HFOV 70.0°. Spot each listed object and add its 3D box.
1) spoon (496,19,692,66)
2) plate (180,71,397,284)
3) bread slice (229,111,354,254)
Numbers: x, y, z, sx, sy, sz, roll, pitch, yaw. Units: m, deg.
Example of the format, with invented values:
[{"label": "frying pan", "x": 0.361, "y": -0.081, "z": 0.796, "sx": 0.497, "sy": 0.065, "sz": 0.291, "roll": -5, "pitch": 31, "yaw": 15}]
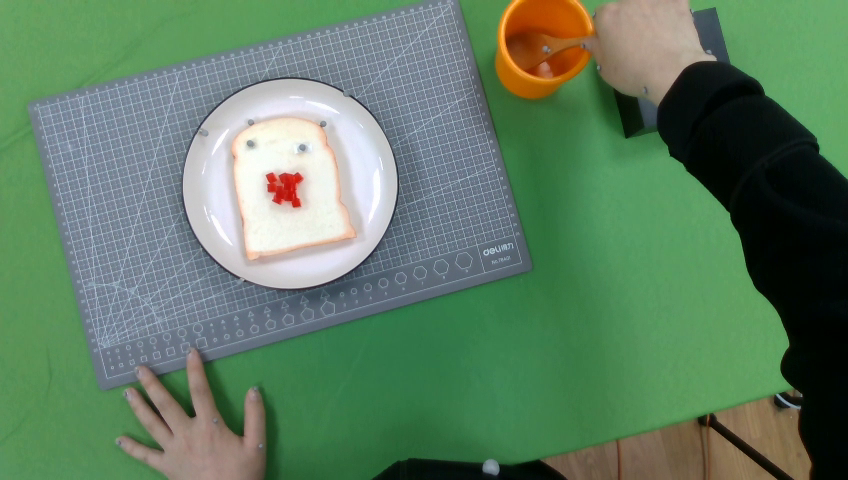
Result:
[{"label": "spoon", "x": 0.150, "y": -0.189, "z": 0.566, "sx": 0.022, "sy": 0.192, "sz": 0.041, "roll": 16, "pitch": 85, "yaw": -46}, {"label": "plate", "x": -0.130, "y": -0.060, "z": 0.600, "sx": 0.209, "sy": 0.038, "sz": 0.209, "roll": 0, "pitch": 88, "yaw": -3}, {"label": "bread slice", "x": -0.138, "y": -0.059, "z": 0.600, "sx": 0.107, "sy": 0.018, "sz": 0.134, "roll": -15, "pitch": 88, "yaw": -4}]
